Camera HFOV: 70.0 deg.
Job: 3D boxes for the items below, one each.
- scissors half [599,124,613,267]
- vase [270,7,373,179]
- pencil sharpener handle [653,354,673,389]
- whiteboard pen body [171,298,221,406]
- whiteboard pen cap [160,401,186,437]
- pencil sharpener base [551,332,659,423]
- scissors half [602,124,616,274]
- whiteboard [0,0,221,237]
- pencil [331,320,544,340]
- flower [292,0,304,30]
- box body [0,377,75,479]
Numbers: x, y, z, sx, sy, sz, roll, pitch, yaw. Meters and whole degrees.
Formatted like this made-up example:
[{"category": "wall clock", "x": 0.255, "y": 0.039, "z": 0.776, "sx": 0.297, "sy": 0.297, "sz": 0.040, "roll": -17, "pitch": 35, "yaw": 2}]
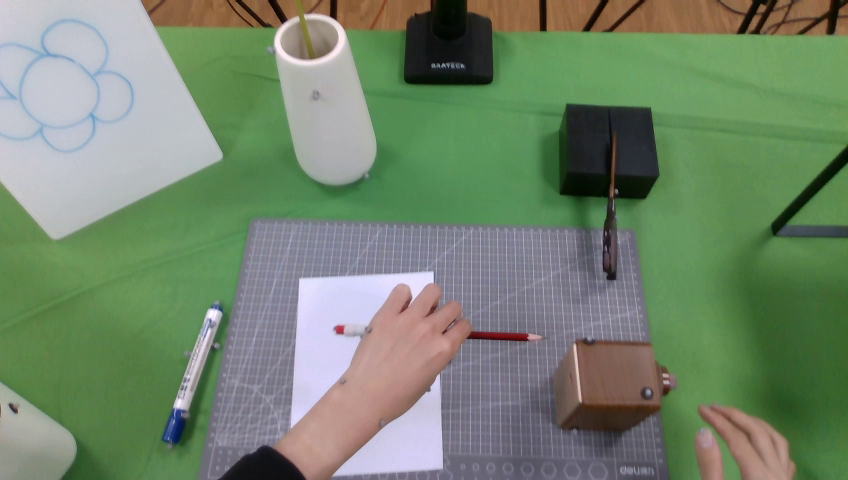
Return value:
[{"category": "scissors half", "x": 0.201, "y": -0.054, "z": 0.663, "sx": 0.013, "sy": 0.040, "sz": 0.174, "roll": 1, "pitch": 64, "yaw": 21}, {"category": "vase", "x": -0.112, "y": -0.155, "z": 0.668, "sx": 0.098, "sy": 0.201, "sz": 0.097, "roll": -1, "pitch": 61, "yaw": 1}, {"category": "pencil sharpener handle", "x": 0.218, "y": 0.124, "z": 0.559, "sx": 0.030, "sy": 0.068, "sz": 0.036, "roll": 1, "pitch": 72, "yaw": 1}, {"category": "whiteboard pen body", "x": -0.238, "y": 0.125, "z": 0.625, "sx": 0.017, "sy": 0.017, "sz": 0.139, "roll": 8, "pitch": 61, "yaw": 5}, {"category": "whiteboard pen cap", "x": -0.246, "y": 0.175, "z": 0.597, "sx": 0.018, "sy": 0.018, "sz": 0.033, "roll": 8, "pitch": 58, "yaw": 5}, {"category": "pencil sharpener base", "x": 0.167, "y": 0.132, "z": 0.569, "sx": 0.077, "sy": 0.108, "sz": 0.061, "roll": 1, "pitch": 62, "yaw": 1}, {"category": "scissors half", "x": 0.210, "y": -0.048, "z": 0.681, "sx": 0.012, "sy": 0.040, "sz": 0.174, "roll": -1, "pitch": 81, "yaw": 26}, {"category": "whiteboard", "x": -0.405, "y": -0.198, "z": 0.665, "sx": 0.217, "sy": 0.309, "sz": 0.142, "roll": -30, "pitch": 47, "yaw": -14}, {"category": "pencil", "x": 0.011, "y": 0.082, "z": 0.547, "sx": 0.194, "sy": 0.012, "sz": 0.012, "roll": 2, "pitch": 62, "yaw": 6}, {"category": "flower", "x": -0.120, "y": -0.205, "z": 0.601, "sx": 0.044, "sy": 0.365, "sz": 0.038, "roll": -5, "pitch": 45, "yaw": 2}, {"category": "box body", "x": -0.536, "y": 0.177, "z": 0.518, "sx": 0.362, "sy": 0.161, "sz": 0.253, "roll": 26, "pitch": 66, "yaw": 13}]
